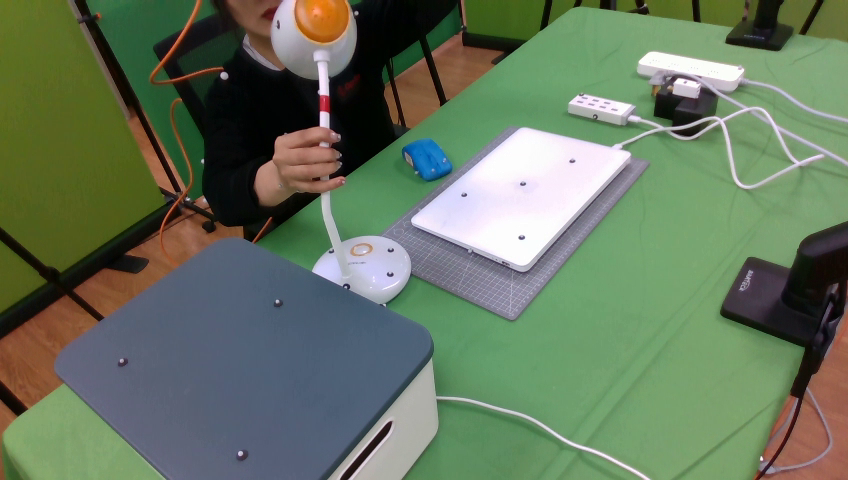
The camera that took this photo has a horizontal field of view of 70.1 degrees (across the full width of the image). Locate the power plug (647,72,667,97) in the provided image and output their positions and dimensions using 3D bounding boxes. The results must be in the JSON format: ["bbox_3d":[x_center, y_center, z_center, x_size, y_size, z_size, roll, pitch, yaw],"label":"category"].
[{"bbox_3d":[0.493,-0.321,1.261,0.073,0.052,0.035,1,20,-41],"label":"power plug"}]

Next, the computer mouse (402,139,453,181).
[{"bbox_3d":[0.005,-0.159,1.165,0.063,0.041,0.116,-21,45,-16],"label":"computer mouse"}]

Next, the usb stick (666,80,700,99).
[{"bbox_3d":[0.492,-0.288,1.152,0.058,0.027,0.021,20,50,34],"label":"usb stick"}]

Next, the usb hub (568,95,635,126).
[{"bbox_3d":[0.360,-0.263,1.228,0.124,0.025,0.049,24,49,34],"label":"usb hub"}]

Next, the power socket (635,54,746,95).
[{"bbox_3d":[0.564,-0.357,1.293,0.225,0.033,0.072,24,51,33],"label":"power socket"}]

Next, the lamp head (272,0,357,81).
[{"bbox_3d":[-0.134,-0.264,0.766,0.113,0.112,0.122,-20,13,-12],"label":"lamp head"}]

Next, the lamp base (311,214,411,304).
[{"bbox_3d":[-0.108,0.001,0.883,0.161,0.181,0.178,-9,44,2],"label":"lamp base"}]

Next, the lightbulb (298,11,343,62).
[{"bbox_3d":[-0.134,-0.270,0.790,0.060,0.059,0.107,-19,4,-11],"label":"lightbulb"}]

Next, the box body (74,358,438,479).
[{"bbox_3d":[-0.189,0.179,0.702,0.361,0.161,0.255,22,49,32],"label":"box body"}]

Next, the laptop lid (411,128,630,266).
[{"bbox_3d":[0.172,-0.093,1.049,0.239,0.013,0.358,24,50,36],"label":"laptop lid"}]

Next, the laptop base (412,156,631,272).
[{"bbox_3d":[0.176,-0.083,1.055,0.233,0.023,0.355,21,48,36],"label":"laptop base"}]

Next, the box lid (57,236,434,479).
[{"bbox_3d":[-0.198,0.123,0.653,0.368,0.015,0.264,22,49,32],"label":"box lid"}]
